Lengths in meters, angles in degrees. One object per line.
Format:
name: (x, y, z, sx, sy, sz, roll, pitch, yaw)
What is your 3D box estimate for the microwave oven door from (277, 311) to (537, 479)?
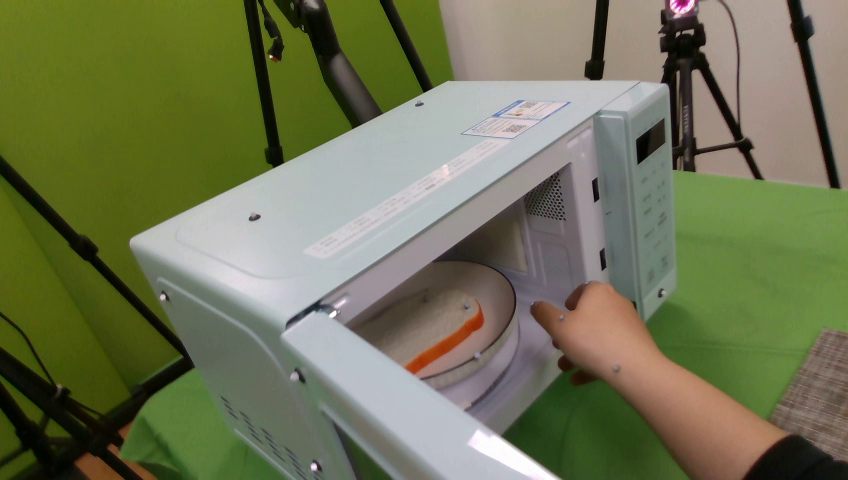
microwave oven door: (0.053, 0.191, 0.288, 0.039, 0.246, 0.352, -31, 31, -27)

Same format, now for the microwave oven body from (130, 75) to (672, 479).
microwave oven body: (0.002, 0.026, 0.635, 0.323, 0.262, 0.441, 16, 41, 44)

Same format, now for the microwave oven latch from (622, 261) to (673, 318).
microwave oven latch: (0.248, 0.052, 0.674, 0.079, 0.030, 0.030, -35, 34, -32)

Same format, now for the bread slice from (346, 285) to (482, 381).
bread slice: (-0.008, 0.090, 0.638, 0.131, 0.019, 0.104, -30, 32, -24)

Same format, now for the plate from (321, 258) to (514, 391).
plate: (-0.006, 0.089, 0.634, 0.209, 0.038, 0.207, -12, 27, 7)
